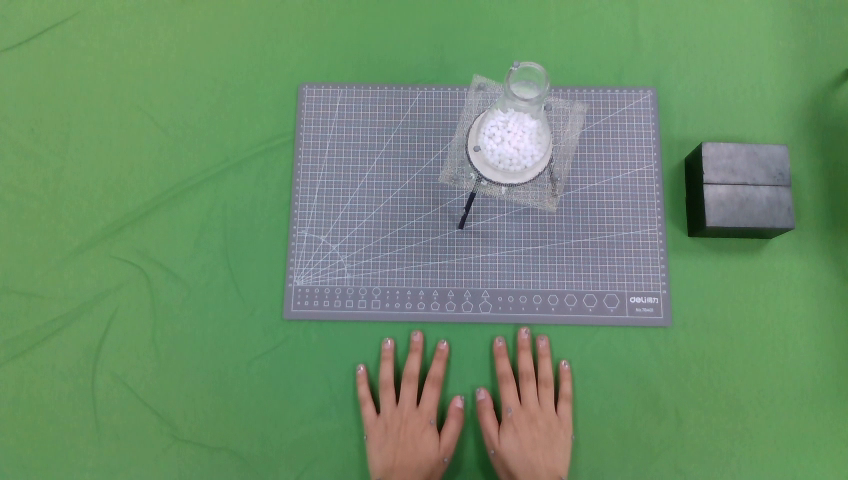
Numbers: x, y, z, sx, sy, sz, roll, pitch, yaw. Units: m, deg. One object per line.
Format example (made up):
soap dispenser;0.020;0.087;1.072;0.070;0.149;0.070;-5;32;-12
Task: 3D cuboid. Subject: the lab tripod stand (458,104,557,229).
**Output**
lab tripod stand;0.084;-0.084;0.673;0.148;0.132;0.147;0;77;2

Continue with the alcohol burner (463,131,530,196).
alcohol burner;0.083;-0.092;0.685;0.078;0.119;0.077;0;78;2

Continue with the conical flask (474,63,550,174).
conical flask;0.086;-0.114;0.552;0.075;0.122;0.075;0;76;2

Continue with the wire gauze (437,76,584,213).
wire gauze;0.089;-0.097;0.608;0.121;0.011;0.124;18;76;4
